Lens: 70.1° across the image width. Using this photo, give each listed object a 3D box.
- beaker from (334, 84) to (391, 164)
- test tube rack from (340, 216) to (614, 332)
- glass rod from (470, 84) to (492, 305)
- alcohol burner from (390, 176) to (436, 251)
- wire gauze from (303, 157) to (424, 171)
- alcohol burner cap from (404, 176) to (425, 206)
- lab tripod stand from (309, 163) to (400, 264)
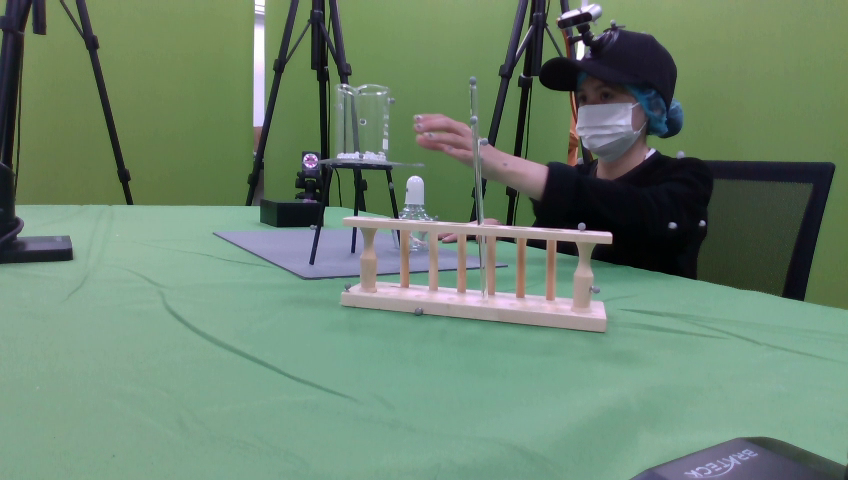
[{"bbox_3d":[-0.082,-0.149,0.791,0.074,0.100,0.084,2,5,5],"label":"beaker"},{"bbox_3d":[0.048,0.026,0.568,0.242,0.085,0.067,4,8,13],"label":"test tube rack"},{"bbox_3d":[0.051,-0.036,0.535,0.008,0.199,0.008,-5,10,1],"label":"glass rod"},{"bbox_3d":[-0.016,-0.042,0.955,0.078,0.119,0.078,4,5,0],"label":"alcohol burner"},{"bbox_3d":[-0.082,-0.101,0.799,0.126,0.011,0.121,1,7,-30],"label":"wire gauze"},{"bbox_3d":[-0.015,-0.077,0.951,0.034,0.048,0.034,2,4,0],"label":"alcohol burner cap"},{"bbox_3d":[-0.091,-0.037,0.813,0.148,0.131,0.148,1,6,0],"label":"lab tripod stand"}]
